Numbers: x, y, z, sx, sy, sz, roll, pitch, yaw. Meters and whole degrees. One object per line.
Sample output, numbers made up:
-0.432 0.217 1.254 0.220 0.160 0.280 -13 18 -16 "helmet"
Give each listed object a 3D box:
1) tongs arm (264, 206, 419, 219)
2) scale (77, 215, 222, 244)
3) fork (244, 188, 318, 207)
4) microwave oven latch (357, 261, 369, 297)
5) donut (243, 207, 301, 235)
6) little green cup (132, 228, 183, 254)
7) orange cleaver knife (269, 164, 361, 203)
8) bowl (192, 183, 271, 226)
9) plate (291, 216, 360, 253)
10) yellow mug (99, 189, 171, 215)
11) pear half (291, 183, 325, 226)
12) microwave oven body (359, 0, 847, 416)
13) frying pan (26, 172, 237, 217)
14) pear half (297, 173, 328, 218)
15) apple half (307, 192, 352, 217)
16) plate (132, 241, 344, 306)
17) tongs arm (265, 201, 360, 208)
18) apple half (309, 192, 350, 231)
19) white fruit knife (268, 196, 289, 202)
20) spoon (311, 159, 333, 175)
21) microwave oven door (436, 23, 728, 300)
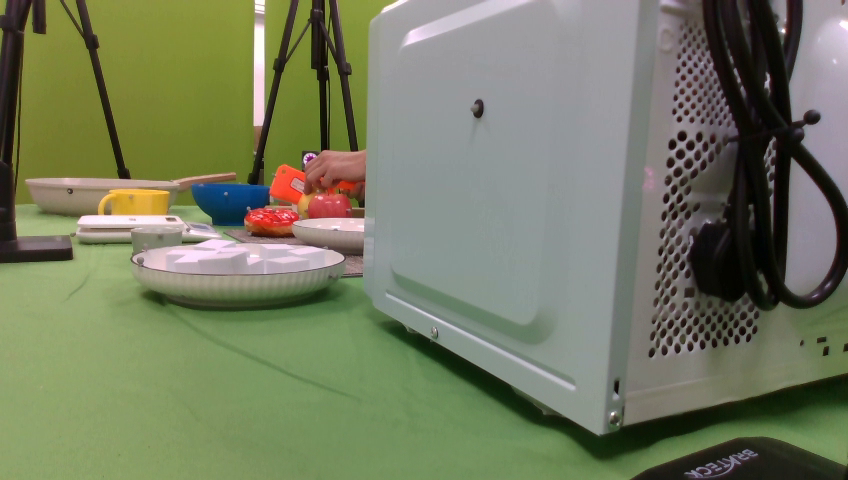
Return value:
-0.173 -0.062 1.362 0.387 0.026 0.050 -1 6 -30 "tongs arm"
-0.434 -0.019 0.963 0.202 0.031 0.148 -1 9 -27 "scale"
-0.356 -0.105 1.526 0.208 0.018 0.028 16 -5 -41 "fork"
-0.019 0.033 0.530 0.079 0.029 0.030 -1 7 -26 "microwave oven latch"
-0.261 -0.032 1.043 0.099 0.048 0.099 3 9 0 "donut"
-0.342 0.006 0.779 0.061 0.038 0.061 2 8 0 "little green cup"
-0.209 -0.105 1.230 0.212 0.077 0.012 5 0 -30 "orange cleaver knife"
-0.382 -0.070 1.202 0.151 0.077 0.151 3 7 0 "bowl"
-0.103 -0.009 0.945 0.209 0.038 0.209 2 8 0 "plate"
-0.519 -0.055 1.080 0.099 0.064 0.131 7 9 26 "yellow mug"
-0.241 -0.070 1.230 0.071 0.088 0.031 -15 -3 -39 "pear half"
0.211 -0.047 0.474 0.444 0.260 0.324 -1 7 -28 "microwave oven body"
-0.624 -0.118 1.387 0.305 0.102 0.490 8 17 32 "frying pan"
-0.208 -0.077 1.187 0.077 0.110 0.055 -12 14 -35 "pear half"
-0.174 -0.049 1.087 0.081 0.074 0.053 6 11 2 "apple half"
-0.187 0.033 0.625 0.208 0.039 0.207 2 7 0 "plate"
-0.209 -0.073 1.438 0.389 0.027 0.028 1 2 -16 "tongs arm"
-0.173 -0.055 1.125 0.081 0.081 0.033 2 11 2 "apple half"
-0.364 -0.105 1.464 0.208 0.027 0.016 15 -1 -34 "white fruit knife"
-0.316 -0.159 1.640 0.194 0.022 0.041 -50 32 -20 "spoon"
0.180 -0.073 0.621 0.358 0.243 0.039 -2 9 -29 "microwave oven door"
